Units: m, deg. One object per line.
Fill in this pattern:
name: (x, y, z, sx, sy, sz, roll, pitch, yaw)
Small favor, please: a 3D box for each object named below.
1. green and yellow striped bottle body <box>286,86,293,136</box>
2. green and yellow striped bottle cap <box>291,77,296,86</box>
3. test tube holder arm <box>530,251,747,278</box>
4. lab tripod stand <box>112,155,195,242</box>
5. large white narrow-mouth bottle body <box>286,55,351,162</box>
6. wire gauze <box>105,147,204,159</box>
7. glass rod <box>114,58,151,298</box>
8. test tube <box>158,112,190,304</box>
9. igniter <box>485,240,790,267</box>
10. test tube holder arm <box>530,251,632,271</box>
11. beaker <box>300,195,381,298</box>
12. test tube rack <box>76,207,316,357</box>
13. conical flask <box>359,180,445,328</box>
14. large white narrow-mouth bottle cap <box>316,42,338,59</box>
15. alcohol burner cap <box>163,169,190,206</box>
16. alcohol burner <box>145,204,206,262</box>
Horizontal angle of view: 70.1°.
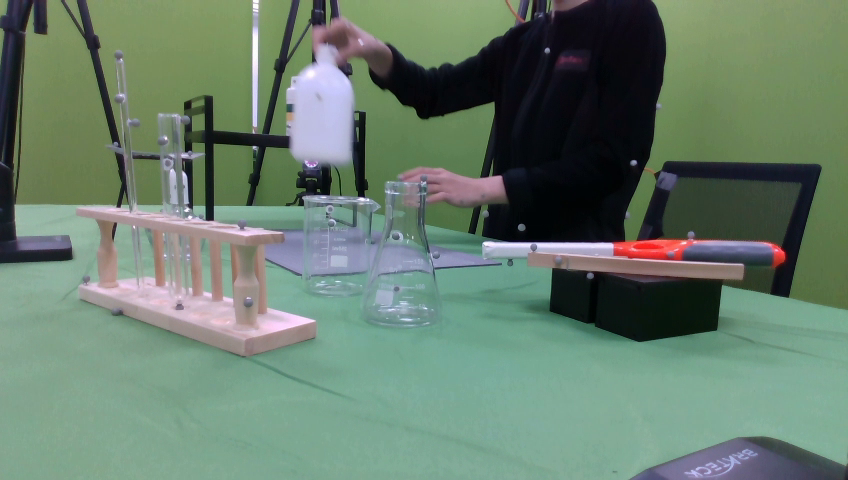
green and yellow striped bottle body: (-0.251, -0.270, 1.245, 0.063, 0.119, 0.063, 2, 7, 0)
green and yellow striped bottle cap: (-0.250, -0.321, 1.238, 0.045, 0.020, 0.045, 3, 6, 0)
test tube holder arm: (0.182, 0.022, 0.523, 0.178, 0.015, 0.013, 3, 7, 12)
lab tripod stand: (-0.405, -0.064, 0.931, 0.148, 0.131, 0.148, 1, 7, 0)
large white narrow-mouth bottle body: (-0.178, -0.239, 1.046, 0.102, 0.194, 0.102, 7, 2, 0)
wire gauze: (-0.407, -0.131, 0.928, 0.125, 0.011, 0.121, 2, 6, -11)
glass rod: (-0.236, -0.044, 0.492, 0.008, 0.199, 0.008, 0, 15, 0)
test tube: (-0.194, -0.022, 0.469, 0.017, 0.150, 0.017, 2, 12, 0)
igniter: (0.197, 0.012, 0.585, 0.276, 0.025, 0.057, 1, 5, 12)
test tube holder arm: (0.139, 0.019, 0.538, 0.087, 0.015, 0.010, 3, 7, 13)
beaker: (-0.087, 0.006, 0.626, 0.084, 0.100, 0.074, 1, 8, -17)
test tube rack: (-0.196, 0.023, 0.500, 0.241, 0.085, 0.067, 8, 9, 36)
conical flask: (-0.017, 0.010, 0.522, 0.075, 0.122, 0.075, 2, 7, 0)
large white narrow-mouth bottle cap: (-0.167, -0.324, 1.043, 0.038, 0.024, 0.038, 7, 2, 0)
alcohol burner cap: (-0.320, -0.068, 0.782, 0.034, 0.048, 0.034, 1, 7, 0)
alcohol burner: (-0.321, -0.032, 0.788, 0.078, 0.119, 0.078, 1, 7, 0)
